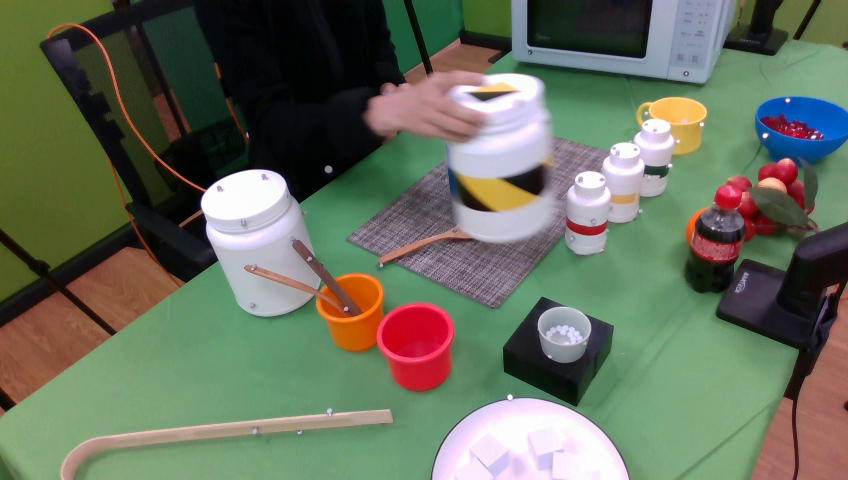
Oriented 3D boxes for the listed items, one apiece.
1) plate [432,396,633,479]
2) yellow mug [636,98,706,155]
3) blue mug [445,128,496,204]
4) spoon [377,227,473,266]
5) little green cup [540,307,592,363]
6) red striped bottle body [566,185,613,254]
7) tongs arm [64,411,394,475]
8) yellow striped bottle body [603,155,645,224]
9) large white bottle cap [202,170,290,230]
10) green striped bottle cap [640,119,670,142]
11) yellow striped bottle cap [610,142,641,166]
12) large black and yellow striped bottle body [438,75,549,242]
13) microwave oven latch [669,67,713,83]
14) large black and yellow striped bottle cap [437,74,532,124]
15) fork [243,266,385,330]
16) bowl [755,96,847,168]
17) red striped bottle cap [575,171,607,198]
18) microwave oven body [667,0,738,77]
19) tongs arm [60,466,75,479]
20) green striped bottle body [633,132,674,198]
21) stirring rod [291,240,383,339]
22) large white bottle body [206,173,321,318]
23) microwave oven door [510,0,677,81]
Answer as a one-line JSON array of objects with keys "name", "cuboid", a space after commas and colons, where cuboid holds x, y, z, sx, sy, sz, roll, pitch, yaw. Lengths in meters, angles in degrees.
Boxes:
[{"name": "plate", "cuboid": [0.112, 0.261, 0.634, 0.209, 0.038, 0.208, -5, 40, 4]}, {"name": "yellow mug", "cuboid": [0.453, -0.217, 1.128, 0.100, 0.064, 0.129, -34, 46, -27]}, {"name": "blue mug", "cuboid": [0.083, -0.139, 1.057, 0.082, 0.106, 0.116, -2, 40, 7]}, {"name": "spoon", "cuboid": [0.015, 0.002, 0.966, 0.194, 0.022, 0.041, -18, 62, -12]}, {"name": "little green cup", "cuboid": [0.169, 0.115, 0.721, 0.061, 0.039, 0.061, -4, 41, 4]}, {"name": "red striped bottle body", "cuboid": [0.249, -0.042, 0.910, 0.063, 0.120, 0.062, -4, 41, 4]}, {"name": "tongs arm", "cuboid": [-0.228, 0.240, 0.715, 0.384, 0.026, 0.050, -5, 43, 5]}, {"name": "yellow striped bottle body", "cuboid": [0.314, -0.090, 0.957, 0.063, 0.121, 0.062, -4, 40, 4]}, {"name": "large white bottle cap", "cuboid": [-0.241, -0.056, 0.822, 0.115, 0.018, 0.114, -4, 40, 4]}, {"name": "green striped bottle cap", "cuboid": [0.370, -0.174, 0.968, 0.044, 0.020, 0.044, -3, 41, 3]}, {"name": "yellow striped bottle cap", "cuboid": [0.309, -0.131, 0.925, 0.044, 0.019, 0.044, -4, 45, 4]}, {"name": "large black and yellow striped bottle body", "cuboid": [0.090, -0.105, 0.780, 0.130, 0.185, 0.130, -8, 36, 7]}, {"name": "microwave oven latch", "cuboid": [0.556, -0.348, 1.261, 0.078, 0.029, 0.030, 16, 46, 27]}, {"name": "large black and yellow striped bottle cap", "cuboid": [0.073, -0.172, 0.730, 0.115, 0.019, 0.114, -8, 33, 6]}, {"name": "fork", "cuboid": [-0.142, 0.079, 0.805, 0.209, 0.018, 0.028, 30, 23, -23]}, {"name": "bowl", "cuboid": [0.645, -0.177, 1.041, 0.151, 0.077, 0.150, -5, 40, 4]}, {"name": "red striped bottle cap", "cuboid": [0.242, -0.081, 0.876, 0.044, 0.018, 0.044, -5, 44, 5]}, {"name": "microwave oven body", "cuboid": [0.462, -0.552, 1.369, 0.439, 0.261, 0.326, 15, 45, 26]}, {"name": "tongs arm", "cuboid": [-0.240, 0.300, 0.648, 0.386, 0.028, 0.028, 6, 48, 17]}, {"name": "green striped bottle body", "cuboid": [0.376, -0.135, 1.001, 0.063, 0.120, 0.063, -5, 40, 5]}, {"name": "stirring rod", "cuboid": [-0.118, 0.068, 0.826, 0.176, 0.006, 0.014, 48, 60, -4]}, {"name": "large white bottle body", "cuboid": [-0.233, 0.007, 0.876, 0.130, 0.185, 0.130, -5, 40, 4]}, {"name": "microwave oven door", "cuboid": [0.354, -0.478, 1.290, 0.353, 0.245, 0.039, 15, 45, 25]}]
